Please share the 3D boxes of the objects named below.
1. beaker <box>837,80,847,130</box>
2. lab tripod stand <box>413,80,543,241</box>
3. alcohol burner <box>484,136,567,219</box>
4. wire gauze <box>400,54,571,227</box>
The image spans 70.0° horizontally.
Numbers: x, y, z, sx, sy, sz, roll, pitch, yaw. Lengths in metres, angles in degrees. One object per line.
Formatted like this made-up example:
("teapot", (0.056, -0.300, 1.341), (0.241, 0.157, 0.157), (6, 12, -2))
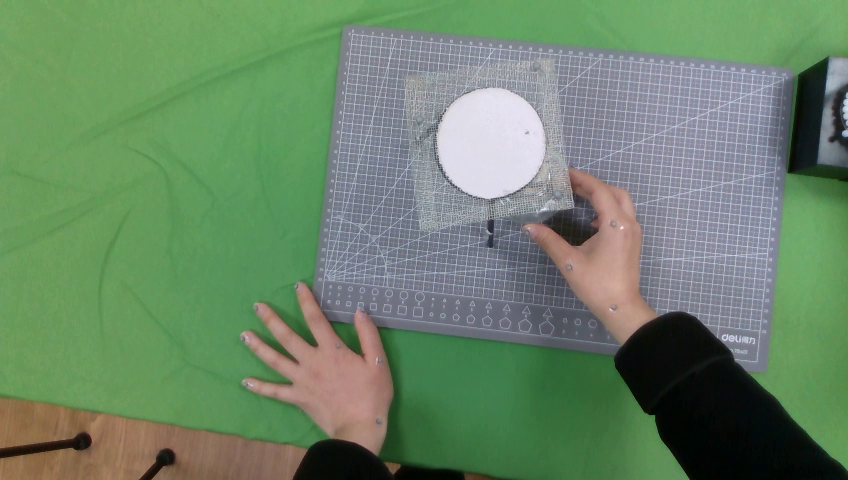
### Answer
("beaker", (0.403, -0.125, 0.498), (0.074, 0.100, 0.084), (17, 88, 3))
("lab tripod stand", (0.054, -0.074, 0.539), (0.148, 0.131, 0.148), (0, 89, 1))
("alcohol burner", (0.093, -0.060, 0.547), (0.078, 0.119, 0.077), (0, 85, 3))
("wire gauze", (0.047, -0.079, 0.472), (0.121, 0.011, 0.125), (-7, 90, 1))
